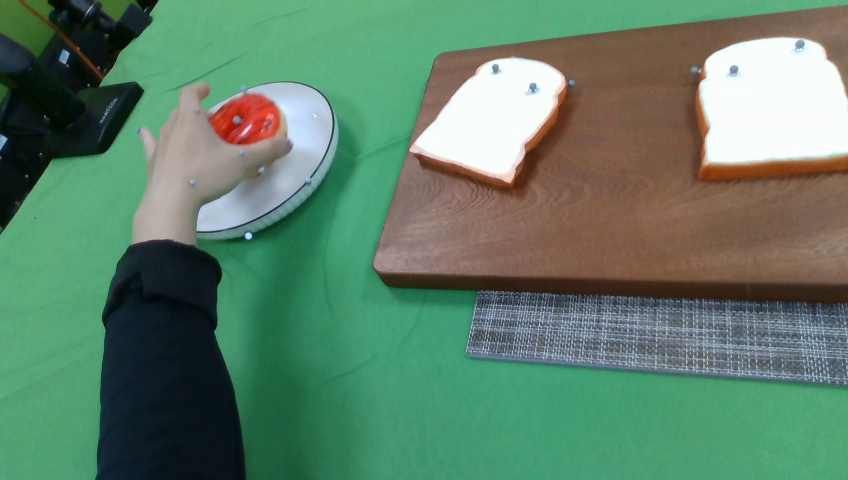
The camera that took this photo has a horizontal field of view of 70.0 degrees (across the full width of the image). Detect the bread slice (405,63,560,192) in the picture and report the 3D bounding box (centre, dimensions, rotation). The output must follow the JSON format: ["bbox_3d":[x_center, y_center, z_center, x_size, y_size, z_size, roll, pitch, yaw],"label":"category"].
[{"bbox_3d":[0.057,-0.105,0.540,0.106,0.018,0.134,19,66,31],"label":"bread slice"}]

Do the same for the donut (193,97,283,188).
[{"bbox_3d":[-0.185,-0.097,0.600,0.099,0.049,0.098,-13,57,20],"label":"donut"}]

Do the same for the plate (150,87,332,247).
[{"bbox_3d":[-0.188,-0.076,0.641,0.209,0.038,0.207,-11,53,15],"label":"plate"}]

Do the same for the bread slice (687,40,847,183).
[{"bbox_3d":[0.254,-0.101,0.460,0.104,0.019,0.130,-3,57,18],"label":"bread slice"}]
